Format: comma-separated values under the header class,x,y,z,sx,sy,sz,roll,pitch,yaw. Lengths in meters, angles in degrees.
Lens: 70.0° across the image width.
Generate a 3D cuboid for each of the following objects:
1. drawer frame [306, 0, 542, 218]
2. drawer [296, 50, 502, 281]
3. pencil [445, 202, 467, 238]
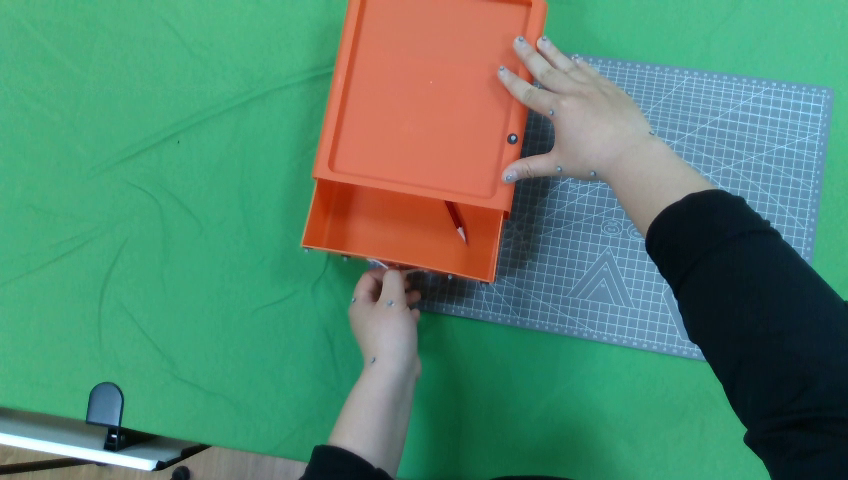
class,x,y,z,sx,sy,sz,roll,pitch,yaw
drawer frame,0.002,-0.143,0.624,0.201,0.083,0.213,9,86,7
drawer,-0.010,-0.073,0.620,0.194,0.073,0.211,10,86,7
pencil,0.003,-0.089,0.645,0.012,0.012,0.193,-26,86,3
